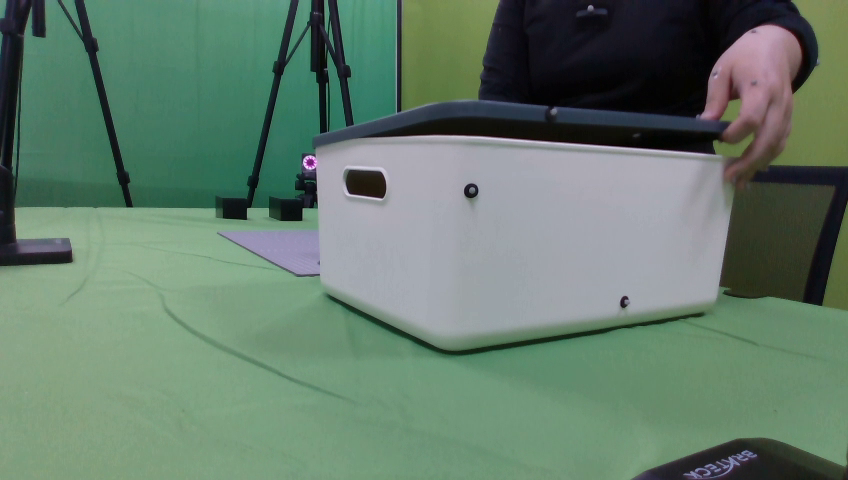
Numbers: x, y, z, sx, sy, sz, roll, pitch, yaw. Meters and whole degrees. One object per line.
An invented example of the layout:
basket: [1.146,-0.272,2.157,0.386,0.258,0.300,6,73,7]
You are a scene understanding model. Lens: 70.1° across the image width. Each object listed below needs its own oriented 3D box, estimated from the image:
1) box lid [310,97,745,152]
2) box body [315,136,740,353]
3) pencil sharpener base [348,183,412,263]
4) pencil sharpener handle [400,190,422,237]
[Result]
box lid: [0.099,-0.097,0.595,0.373,0.015,0.262,-3,3,-33]
box body: [0.098,-0.012,0.606,0.366,0.160,0.253,-2,8,-33]
pencil sharpener base: [-0.059,-0.024,0.846,0.077,0.107,0.061,-1,7,-30]
pencil sharpener handle: [-0.016,-0.038,0.872,0.031,0.067,0.036,-1,15,-30]
